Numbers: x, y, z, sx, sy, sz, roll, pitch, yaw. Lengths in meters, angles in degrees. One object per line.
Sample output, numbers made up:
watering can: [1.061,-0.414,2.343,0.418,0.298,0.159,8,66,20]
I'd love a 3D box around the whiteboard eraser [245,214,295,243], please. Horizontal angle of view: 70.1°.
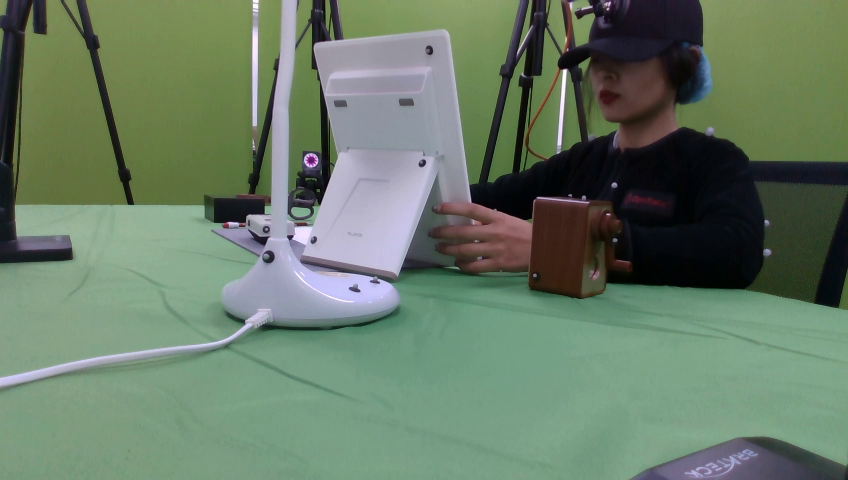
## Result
whiteboard eraser: [-0.247,-0.018,0.965,0.056,0.042,0.112,0,8,-28]

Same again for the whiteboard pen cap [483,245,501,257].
whiteboard pen cap: [0.104,0.017,0.936,0.018,0.018,0.033,-1,4,-22]

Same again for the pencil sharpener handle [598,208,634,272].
pencil sharpener handle: [0.208,0.000,0.644,0.030,0.068,0.036,10,23,42]

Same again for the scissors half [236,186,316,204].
scissors half: [-0.320,-0.097,1.316,0.176,0.040,0.013,-3,11,-29]

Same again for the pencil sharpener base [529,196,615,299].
pencil sharpener base: [0.168,0.007,0.678,0.076,0.107,0.062,10,10,42]

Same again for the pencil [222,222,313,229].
pencil: [-0.302,-0.030,1.189,0.195,0.012,0.012,-2,9,-42]

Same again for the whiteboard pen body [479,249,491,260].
whiteboard pen body: [0.033,0.017,0.899,0.140,0.017,0.017,5,8,28]

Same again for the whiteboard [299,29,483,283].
whiteboard: [-0.074,-0.082,0.742,0.216,0.305,0.144,9,29,37]

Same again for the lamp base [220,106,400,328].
lamp base: [-0.101,-0.023,0.531,0.160,0.180,0.179,4,10,10]

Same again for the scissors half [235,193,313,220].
scissors half: [-0.324,-0.077,1.319,0.176,0.040,0.012,17,6,-31]
